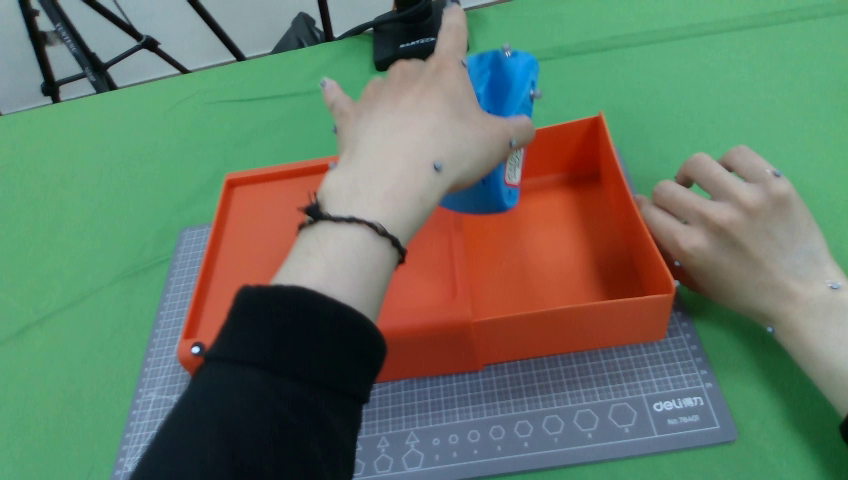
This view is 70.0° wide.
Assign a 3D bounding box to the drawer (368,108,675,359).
[{"bbox_3d":[0.065,-0.005,0.486,0.211,0.074,0.192,-9,49,6],"label":"drawer"}]

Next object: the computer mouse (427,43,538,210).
[{"bbox_3d":[0.038,-0.079,0.416,0.062,0.041,0.117,10,88,38],"label":"computer mouse"}]

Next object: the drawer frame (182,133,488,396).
[{"bbox_3d":[-0.062,0.014,0.499,0.213,0.083,0.199,-9,49,7],"label":"drawer frame"}]
